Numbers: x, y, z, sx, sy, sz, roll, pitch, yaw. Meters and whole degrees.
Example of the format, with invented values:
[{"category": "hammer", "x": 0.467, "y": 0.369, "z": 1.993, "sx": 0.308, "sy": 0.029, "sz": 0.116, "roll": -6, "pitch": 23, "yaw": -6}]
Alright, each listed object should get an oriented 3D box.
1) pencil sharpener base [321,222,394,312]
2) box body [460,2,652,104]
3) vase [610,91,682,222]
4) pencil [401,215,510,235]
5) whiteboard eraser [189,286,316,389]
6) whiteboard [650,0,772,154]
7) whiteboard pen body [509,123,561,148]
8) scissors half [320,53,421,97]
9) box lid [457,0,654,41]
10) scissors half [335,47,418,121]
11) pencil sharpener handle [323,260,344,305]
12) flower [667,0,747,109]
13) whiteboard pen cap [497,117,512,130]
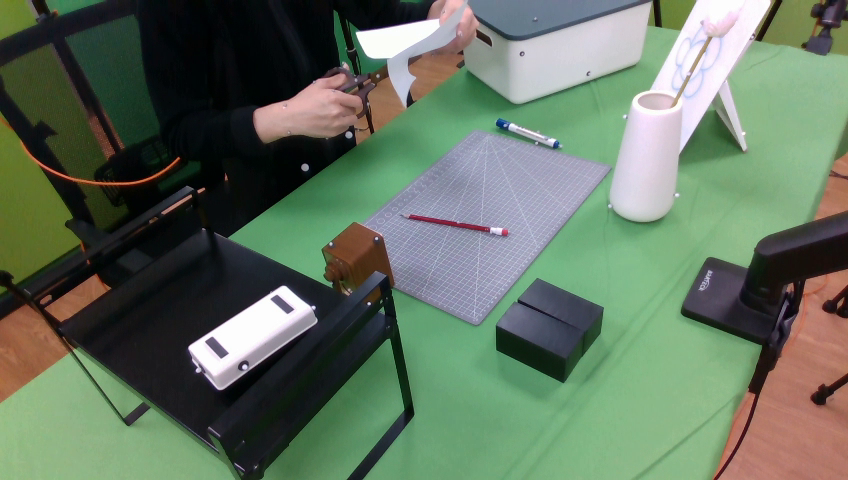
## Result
[{"category": "pencil sharpener base", "x": -0.096, "y": 0.041, "z": 0.873, "sx": 0.061, "sy": 0.107, "sz": 0.077, "roll": 26, "pitch": 54, "yaw": 32}, {"category": "box body", "x": 0.291, "y": -0.465, "z": 1.371, "sx": 0.365, "sy": 0.161, "sz": 0.252, "roll": -22, "pitch": 42, "yaw": -16}, {"category": "vase", "x": 0.348, "y": -0.125, "z": 0.935, "sx": 0.098, "sy": 0.201, "sz": 0.097, "roll": -3, "pitch": 40, "yaw": 3}, {"category": "pencil", "x": 0.049, "y": -0.027, "z": 1.007, "sx": 0.193, "sy": 0.012, "sz": 0.012, "roll": 10, "pitch": 43, "yaw": 21}, {"category": "whiteboard eraser", "x": -0.166, "y": 0.096, "z": 0.593, "sx": 0.113, "sy": 0.042, "sz": 0.055, "roll": -36, "pitch": 47, "yaw": -29}, {"category": "whiteboard", "x": 0.543, "y": -0.298, "z": 1.076, "sx": 0.144, "sy": 0.305, "sz": 0.216, "roll": 12, "pitch": 40, "yaw": -7}, {"category": "whiteboard pen body", "x": 0.209, "y": -0.211, "z": 1.195, "sx": 0.139, "sy": 0.017, "sz": 0.017, "roll": 30, "pitch": 52, "yaw": 33}, {"category": "scissors half", "x": -0.083, "y": -0.252, "z": 0.907, "sx": 0.174, "sy": 0.040, "sz": 0.013, "roll": -10, "pitch": 29, "yaw": 22}, {"category": "box lid", "x": 0.285, "y": -0.522, "z": 1.323, "sx": 0.373, "sy": 0.015, "sz": 0.261, "roll": -22, "pitch": 43, "yaw": -16}, {"category": "scissors half", "x": -0.072, "y": -0.234, "z": 0.914, "sx": 0.174, "sy": 0.040, "sz": 0.013, "roll": -36, "pitch": 12, "yaw": 32}, {"category": "pencil sharpener handle", "x": -0.131, "y": 0.062, "z": 0.839, "sx": 0.035, "sy": 0.068, "sz": 0.031, "roll": 29, "pitch": 55, "yaw": 28}, {"category": "flower", "x": 0.354, "y": -0.187, "z": 0.879, "sx": 0.038, "sy": 0.362, "sz": 0.044, "roll": 30, "pitch": 48, "yaw": 14}, {"category": "whiteboard pen cap", "x": 0.165, "y": -0.235, "z": 1.227, "sx": 0.033, "sy": 0.018, "sz": 0.018, "roll": 31, "pitch": 53, "yaw": 30}]
